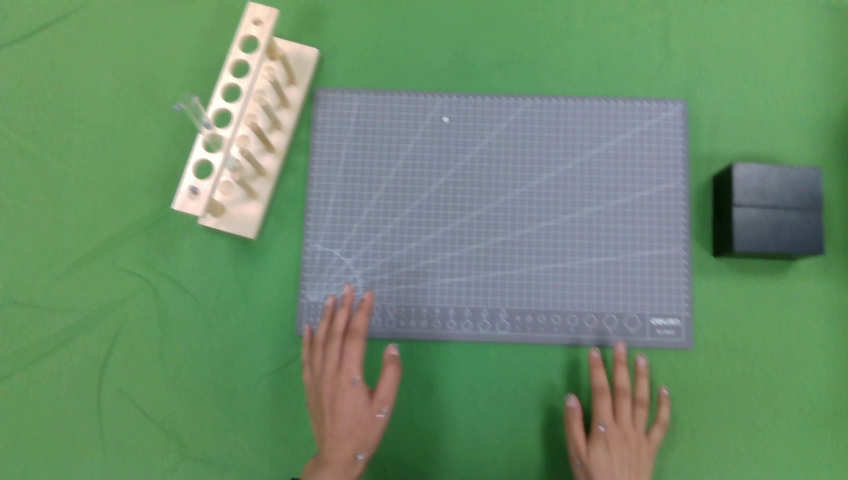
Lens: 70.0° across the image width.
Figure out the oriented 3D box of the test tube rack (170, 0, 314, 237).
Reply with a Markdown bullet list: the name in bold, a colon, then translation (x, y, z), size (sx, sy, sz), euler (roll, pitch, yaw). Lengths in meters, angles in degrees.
- **test tube rack**: translation (-0.198, -0.134, 0.682), size (0.067, 0.085, 0.241), euler (16, 81, 2)

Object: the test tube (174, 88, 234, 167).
- **test tube**: translation (-0.224, -0.111, 0.629), size (0.017, 0.151, 0.017), euler (0, 72, -1)
